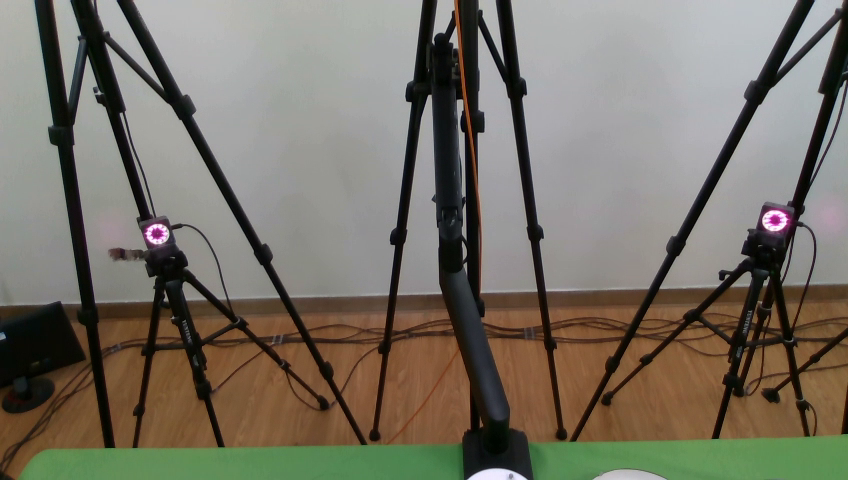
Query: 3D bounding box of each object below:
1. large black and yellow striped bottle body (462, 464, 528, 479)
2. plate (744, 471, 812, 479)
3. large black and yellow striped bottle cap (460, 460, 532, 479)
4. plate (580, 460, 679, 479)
[{"bbox_3d":[0.102,0.424,0.870,0.131,0.185,0.129,-2,33,2],"label":"large black and yellow striped bottle body"},{"bbox_3d":[0.576,0.453,0.927,0.207,0.039,0.205,-2,33,2],"label":"plate"},{"bbox_3d":[0.099,0.353,0.825,0.115,0.019,0.114,-1,34,1],"label":"large black and yellow striped bottle cap"},{"bbox_3d":[0.337,0.445,0.957,0.209,0.038,0.207,-2,33,2],"label":"plate"}]
